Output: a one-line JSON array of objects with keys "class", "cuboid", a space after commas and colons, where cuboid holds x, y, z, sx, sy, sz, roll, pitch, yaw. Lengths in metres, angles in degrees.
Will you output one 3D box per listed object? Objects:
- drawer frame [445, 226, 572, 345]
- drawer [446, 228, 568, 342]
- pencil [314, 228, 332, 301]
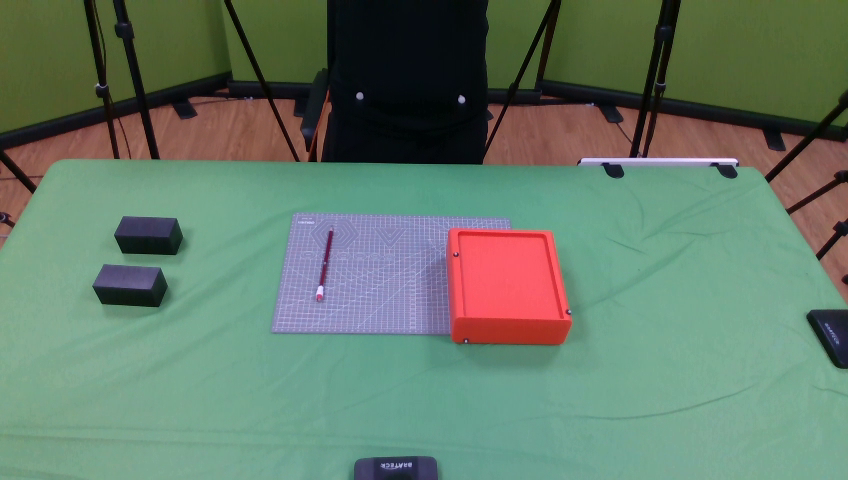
[{"class": "drawer frame", "cuboid": [0.144, 0.078, 1.087, 0.202, 0.083, 0.212, 2, 47, -4]}, {"class": "drawer", "cuboid": [0.142, 0.077, 1.089, 0.195, 0.073, 0.210, 2, 47, -4]}, {"class": "pencil", "cuboid": [-0.189, 0.041, 1.148, 0.012, 0.012, 0.193, 3, 43, -1]}]
